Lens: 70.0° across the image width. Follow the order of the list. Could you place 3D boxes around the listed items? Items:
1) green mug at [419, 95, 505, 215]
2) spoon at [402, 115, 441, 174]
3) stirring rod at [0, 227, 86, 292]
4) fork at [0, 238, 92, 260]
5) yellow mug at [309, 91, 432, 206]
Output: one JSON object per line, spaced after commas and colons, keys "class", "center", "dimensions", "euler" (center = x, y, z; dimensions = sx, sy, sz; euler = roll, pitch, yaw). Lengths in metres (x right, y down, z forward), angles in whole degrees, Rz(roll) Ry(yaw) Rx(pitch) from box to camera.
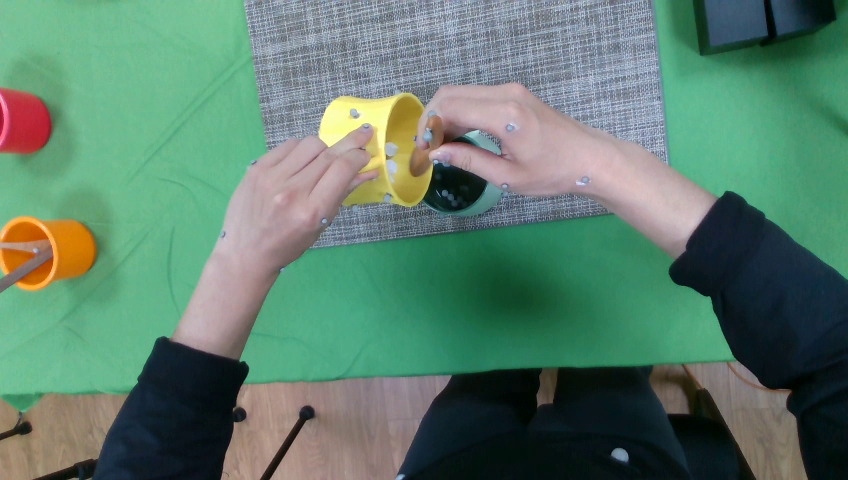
{"class": "green mug", "center": [0.037, -0.087, 0.629], "dimensions": [0.092, 0.105, 0.125], "euler": [10, 98, 12]}
{"class": "spoon", "center": [0.001, -0.075, 0.468], "dimensions": [0.022, 0.193, 0.041], "euler": [33, 88, -7]}
{"class": "stirring rod", "center": [-0.503, 0.040, 0.754], "dimensions": [0.014, 0.006, 0.176], "euler": [44, 61, 4]}
{"class": "fork", "center": [-0.530, 0.006, 0.750], "dimensions": [0.209, 0.018, 0.028], "euler": [5, 97, -31]}
{"class": "yellow mug", "center": [-0.049, -0.076, 0.531], "dimensions": [0.063, 0.130, 0.100], "euler": [3, 112, 26]}
